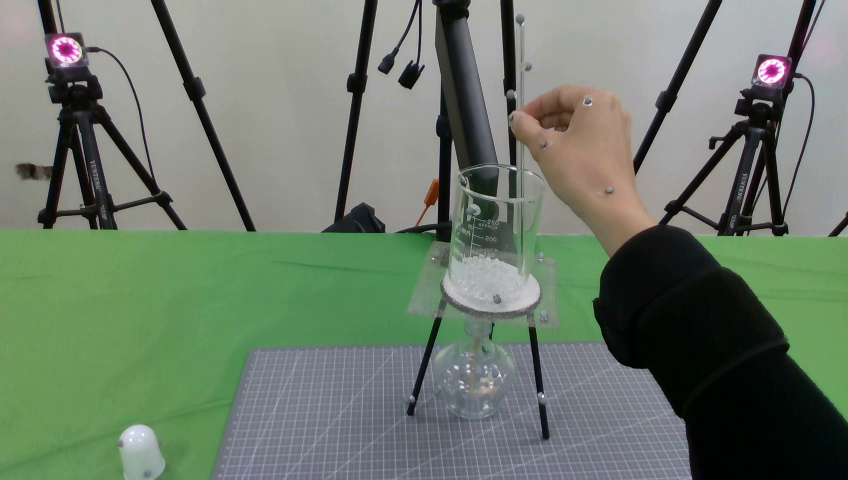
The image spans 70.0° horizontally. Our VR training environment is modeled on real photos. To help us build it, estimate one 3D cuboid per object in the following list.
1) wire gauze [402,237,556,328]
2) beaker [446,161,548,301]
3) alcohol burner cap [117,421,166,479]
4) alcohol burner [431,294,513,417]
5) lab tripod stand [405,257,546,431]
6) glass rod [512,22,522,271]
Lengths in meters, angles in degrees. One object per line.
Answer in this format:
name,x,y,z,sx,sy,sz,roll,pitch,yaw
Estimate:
wire gauze,0.053,0.036,0.527,0.121,0.011,0.124,7,31,8
beaker,0.054,-0.008,0.505,0.083,0.101,0.074,28,37,36
alcohol burner cap,-0.233,0.170,0.495,0.034,0.048,0.033,1,28,0
alcohol burner,0.045,0.103,0.562,0.078,0.120,0.077,1,27,0
lab tripod stand,0.057,0.094,0.558,0.148,0.132,0.147,4,28,-2
glass rod,0.073,-0.065,0.476,0.008,0.201,0.008,-3,25,2
